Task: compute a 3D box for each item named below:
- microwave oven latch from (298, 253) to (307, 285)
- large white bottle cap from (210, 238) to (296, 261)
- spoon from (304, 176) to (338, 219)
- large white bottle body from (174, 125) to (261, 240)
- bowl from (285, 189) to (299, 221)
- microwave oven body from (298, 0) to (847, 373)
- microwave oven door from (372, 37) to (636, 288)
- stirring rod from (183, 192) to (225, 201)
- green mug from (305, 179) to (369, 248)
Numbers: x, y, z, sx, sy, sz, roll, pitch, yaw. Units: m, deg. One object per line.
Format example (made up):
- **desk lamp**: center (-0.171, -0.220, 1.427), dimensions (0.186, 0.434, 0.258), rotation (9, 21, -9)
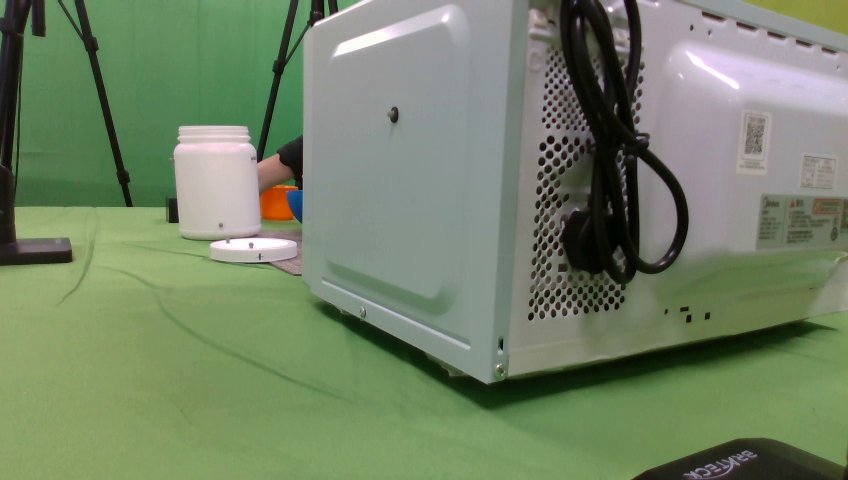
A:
- **microwave oven latch**: center (-0.081, 0.027, 0.582), dimensions (0.079, 0.029, 0.030), rotation (-2, 7, -32)
- **large white bottle cap**: center (-0.236, 0.012, 0.839), dimensions (0.115, 0.018, 0.115), rotation (1, 7, 0)
- **spoon**: center (-0.201, -0.084, 1.146), dimensions (0.042, 0.021, 0.193), rotation (1, 31, -24)
- **large white bottle body**: center (-0.349, -0.100, 1.025), dimensions (0.131, 0.184, 0.130), rotation (-1, 9, 0)
- **bowl**: center (-0.180, -0.050, 1.113), dimensions (0.151, 0.077, 0.151), rotation (3, 8, 0)
- **microwave oven body**: center (0.151, -0.055, 0.542), dimensions (0.444, 0.260, 0.324), rotation (-2, 7, -33)
- **microwave oven door**: center (0.110, -0.080, 0.686), dimensions (0.358, 0.243, 0.039), rotation (-2, 9, -33)
- **stirring rod**: center (-0.473, -0.094, 1.294), dimensions (0.175, 0.006, 0.014), rotation (11, 6, 43)
- **green mug**: center (-0.133, -0.044, 0.977), dimensions (0.092, 0.105, 0.126), rotation (6, 8, 32)
